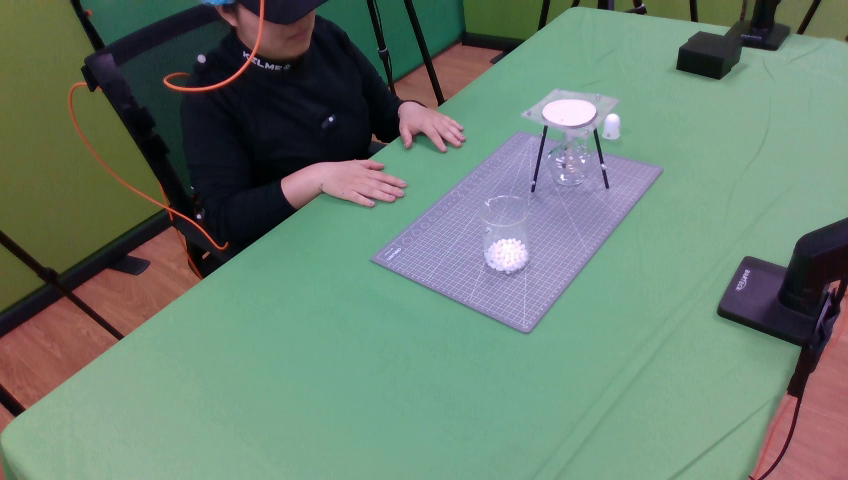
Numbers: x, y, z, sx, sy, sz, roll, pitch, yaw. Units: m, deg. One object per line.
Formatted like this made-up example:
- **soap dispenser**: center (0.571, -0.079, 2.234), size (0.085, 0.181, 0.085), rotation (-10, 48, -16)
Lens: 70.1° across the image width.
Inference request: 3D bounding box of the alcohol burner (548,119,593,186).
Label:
- **alcohol burner**: center (0.252, -0.154, 1.042), size (0.078, 0.120, 0.077), rotation (-7, 40, 7)

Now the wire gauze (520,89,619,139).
- **wire gauze**: center (0.239, -0.213, 0.994), size (0.124, 0.011, 0.122), rotation (24, 49, 32)

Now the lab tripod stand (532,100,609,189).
- **lab tripod stand**: center (0.251, -0.161, 1.034), size (0.148, 0.132, 0.147), rotation (-4, 39, 4)

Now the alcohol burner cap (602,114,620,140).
- **alcohol burner cap**: center (0.359, -0.217, 1.157), size (0.034, 0.048, 0.033), rotation (-7, 40, 6)

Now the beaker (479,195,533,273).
- **beaker**: center (0.122, -0.007, 0.904), size (0.074, 0.101, 0.083), rotation (-30, 43, -23)
